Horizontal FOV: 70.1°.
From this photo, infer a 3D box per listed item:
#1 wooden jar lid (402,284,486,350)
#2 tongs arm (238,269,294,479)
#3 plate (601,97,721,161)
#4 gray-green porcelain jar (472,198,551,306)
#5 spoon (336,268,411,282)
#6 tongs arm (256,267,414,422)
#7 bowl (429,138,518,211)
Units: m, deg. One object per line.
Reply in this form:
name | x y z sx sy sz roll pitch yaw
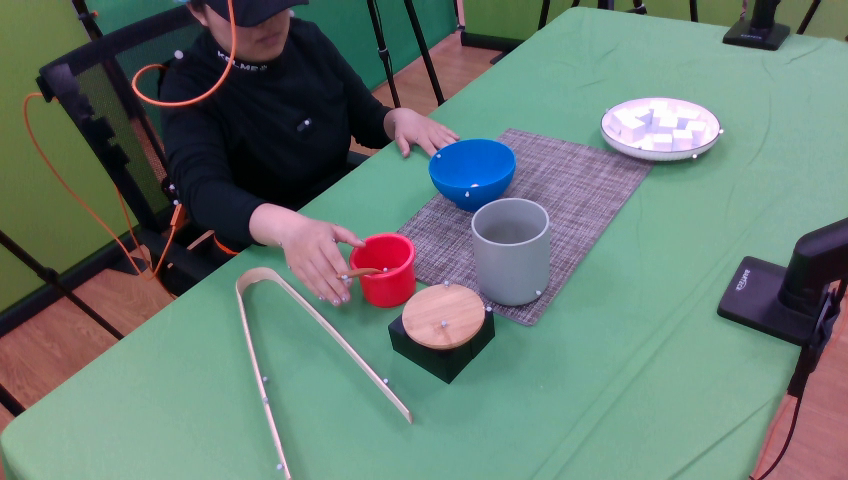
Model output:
wooden jar lid | 0.026 0.101 0.786 0.108 0.021 0.108 -5 39 4
tongs arm | -0.208 0.163 0.824 0.051 0.026 0.381 -22 40 -15
plate | 0.436 -0.203 1.126 0.209 0.038 0.208 -5 39 4
gray-green porcelain jar | 0.125 0.021 0.850 0.106 0.127 0.105 -6 40 5
spoon | -0.071 0.047 0.850 0.041 0.195 0.021 18 93 24
tongs arm | -0.137 0.132 0.853 0.028 0.028 0.384 -34 45 -23
bowl | 0.087 -0.104 1.043 0.151 0.077 0.150 -5 40 5
